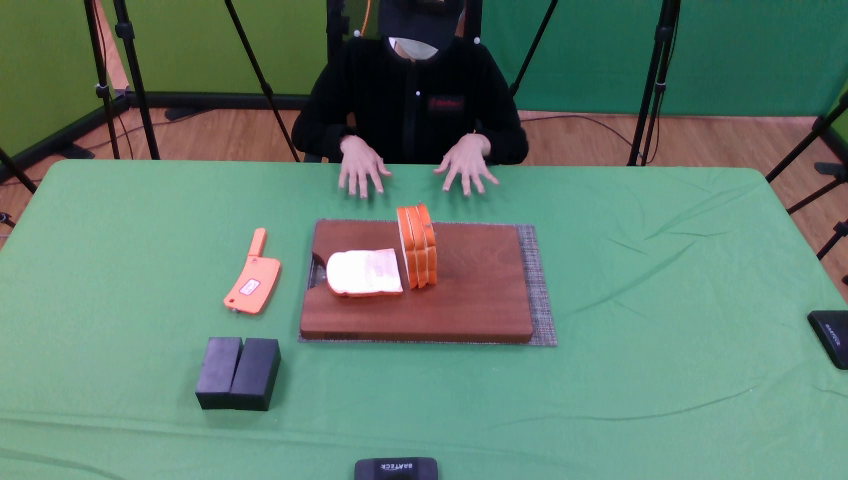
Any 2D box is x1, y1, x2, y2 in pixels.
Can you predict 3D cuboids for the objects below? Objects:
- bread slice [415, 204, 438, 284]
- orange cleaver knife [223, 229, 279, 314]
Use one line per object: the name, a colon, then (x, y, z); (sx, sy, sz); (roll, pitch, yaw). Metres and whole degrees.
bread slice: (0.003, 0.004, 1.077); (0.018, 0.135, 0.106); (-12, 54, -6)
orange cleaver knife: (-0.311, 0.055, 1.125); (0.077, 0.012, 0.210); (3, 44, 2)
